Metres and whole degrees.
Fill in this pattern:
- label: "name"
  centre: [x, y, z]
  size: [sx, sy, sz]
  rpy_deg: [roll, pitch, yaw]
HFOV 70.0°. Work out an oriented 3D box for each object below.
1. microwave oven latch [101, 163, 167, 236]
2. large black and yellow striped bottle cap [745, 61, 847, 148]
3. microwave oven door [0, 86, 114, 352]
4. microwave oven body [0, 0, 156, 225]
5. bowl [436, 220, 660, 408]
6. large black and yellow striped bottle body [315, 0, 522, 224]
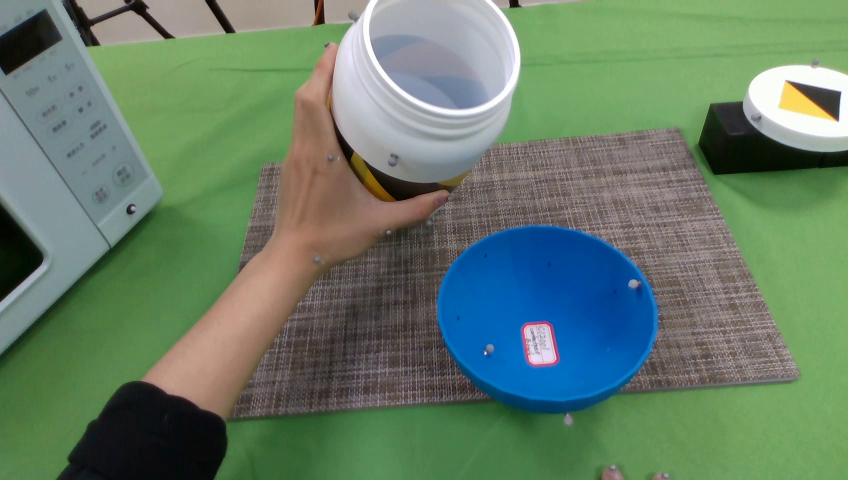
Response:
- label: "microwave oven latch"
  centre: [-0.287, -0.042, 0.588]
  size: [0.030, 0.030, 0.079]
  rpy_deg: [19, 54, 21]
- label: "large black and yellow striped bottle cap"
  centre: [0.365, -0.129, 0.567]
  size: [0.115, 0.019, 0.114]
  rpy_deg: [-4, 48, 4]
- label: "microwave oven door"
  centre: [-0.393, 0.042, 0.388]
  size: [0.039, 0.246, 0.354]
  rpy_deg: [17, 53, 20]
- label: "microwave oven body"
  centre: [-0.505, -0.024, 0.465]
  size: [0.324, 0.263, 0.439]
  rpy_deg: [18, 53, 20]
- label: "bowl"
  centre: [0.086, 0.065, 0.446]
  size: [0.151, 0.077, 0.150]
  rpy_deg: [-3, 48, 4]
- label: "large black and yellow striped bottle body"
  centre: [-0.010, -0.101, 0.472]
  size: [0.131, 0.184, 0.130]
  rpy_deg: [5, 71, -15]
